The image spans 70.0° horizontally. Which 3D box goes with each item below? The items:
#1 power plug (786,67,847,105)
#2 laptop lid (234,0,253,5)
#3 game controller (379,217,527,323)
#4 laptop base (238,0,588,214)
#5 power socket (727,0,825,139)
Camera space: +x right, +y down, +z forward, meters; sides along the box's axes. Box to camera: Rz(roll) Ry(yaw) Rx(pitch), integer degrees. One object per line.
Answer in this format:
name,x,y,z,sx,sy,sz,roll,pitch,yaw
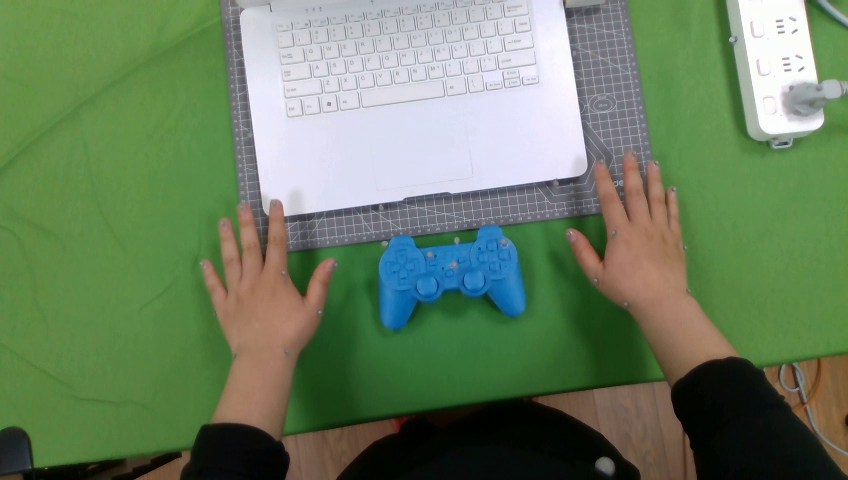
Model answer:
power plug,0.411,-0.156,0.625,0.072,0.053,0.035,5,84,-3
laptop lid,-0.038,-0.312,0.554,0.357,0.243,0.013,-9,76,2
game controller,0.028,0.030,0.630,0.155,0.052,0.096,-7,80,0
laptop base,-0.014,-0.168,0.660,0.354,0.023,0.235,-9,88,0
power socket,0.373,-0.224,0.650,0.072,0.032,0.226,-6,85,2
